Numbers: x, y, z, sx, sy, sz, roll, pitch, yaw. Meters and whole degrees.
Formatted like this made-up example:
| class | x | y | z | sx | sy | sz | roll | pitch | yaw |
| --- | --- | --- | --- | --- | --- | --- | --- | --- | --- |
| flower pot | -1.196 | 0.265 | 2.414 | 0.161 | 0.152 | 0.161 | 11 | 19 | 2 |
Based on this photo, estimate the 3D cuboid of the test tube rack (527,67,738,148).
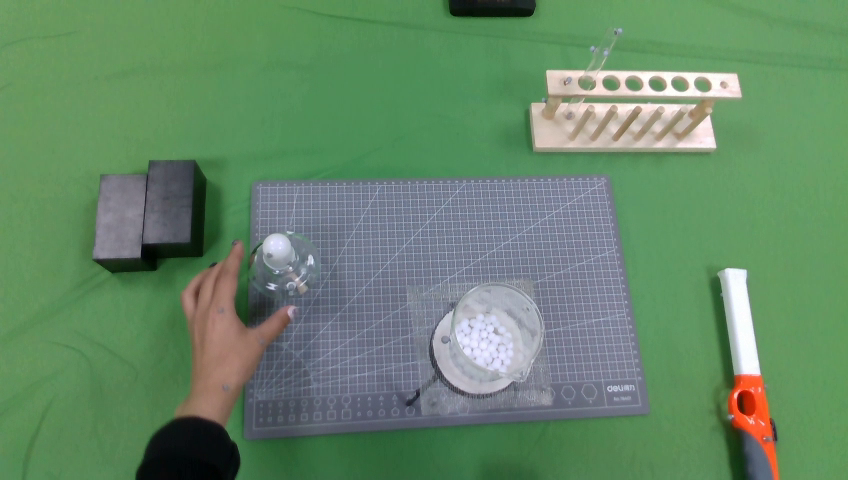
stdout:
| class | x | y | z | sx | sy | sz | roll | pitch | yaw |
| --- | --- | --- | --- | --- | --- | --- | --- | --- | --- |
| test tube rack | 0.262 | -0.166 | 0.769 | 0.243 | 0.085 | 0.066 | -1 | 72 | -5 |

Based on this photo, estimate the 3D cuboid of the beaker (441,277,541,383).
| class | x | y | z | sx | sy | sz | roll | pitch | yaw |
| --- | --- | --- | --- | --- | --- | --- | --- | --- | --- |
| beaker | 0.054 | 0.084 | 0.519 | 0.074 | 0.101 | 0.083 | -24 | 74 | -12 |

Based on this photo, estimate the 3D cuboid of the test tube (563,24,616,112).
| class | x | y | z | sx | sy | sz | roll | pitch | yaw |
| --- | --- | --- | --- | --- | --- | --- | --- | --- | --- |
| test tube | 0.193 | -0.200 | 0.721 | 0.017 | 0.151 | 0.017 | 2 | 67 | -4 |

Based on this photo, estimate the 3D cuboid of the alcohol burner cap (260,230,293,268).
| class | x | y | z | sx | sy | sz | roll | pitch | yaw |
| --- | --- | --- | --- | --- | --- | --- | --- | --- | --- |
| alcohol burner cap | -0.151 | 0.007 | 0.617 | 0.034 | 0.048 | 0.033 | 3 | 74 | -9 |

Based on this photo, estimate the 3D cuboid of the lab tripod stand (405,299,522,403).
| class | x | y | z | sx | sy | sz | roll | pitch | yaw |
| --- | --- | --- | --- | --- | --- | --- | --- | --- | --- |
| lab tripod stand | 0.041 | 0.118 | 0.627 | 0.148 | 0.132 | 0.147 | 1 | 71 | -3 |

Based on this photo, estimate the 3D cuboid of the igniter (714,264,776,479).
| class | x | y | z | sx | sy | sz | roll | pitch | yaw |
| --- | --- | --- | --- | --- | --- | --- | --- | --- | --- |
| igniter | 0.372 | 0.162 | 0.704 | 0.057 | 0.025 | 0.275 | 6 | 71 | -14 |

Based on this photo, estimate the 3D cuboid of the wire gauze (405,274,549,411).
| class | x | y | z | sx | sy | sz | roll | pitch | yaw |
| --- | --- | --- | --- | --- | --- | --- | --- | --- | --- |
| wire gauze | 0.049 | 0.093 | 0.566 | 0.125 | 0.011 | 0.120 | -4 | 70 | -4 |

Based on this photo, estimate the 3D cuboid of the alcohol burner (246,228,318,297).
| class | x | y | z | sx | sy | sz | roll | pitch | yaw |
| --- | --- | --- | --- | --- | --- | --- | --- | --- | --- |
| alcohol burner | -0.155 | 0.018 | 0.651 | 0.078 | 0.120 | 0.077 | 2 | 69 | -4 |
